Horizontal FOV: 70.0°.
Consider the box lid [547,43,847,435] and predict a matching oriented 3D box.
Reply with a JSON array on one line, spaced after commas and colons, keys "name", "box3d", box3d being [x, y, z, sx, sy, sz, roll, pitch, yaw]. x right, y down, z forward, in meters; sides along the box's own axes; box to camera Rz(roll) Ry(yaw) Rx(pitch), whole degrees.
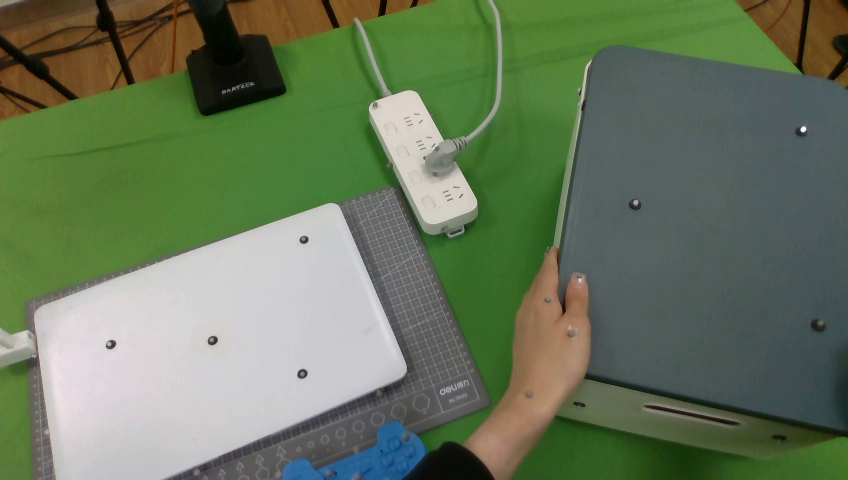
[{"name": "box lid", "box3d": [0.264, -0.032, 0.546, 0.263, 0.015, 0.369, 12, 62, 7]}]

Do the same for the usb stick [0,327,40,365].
[{"name": "usb stick", "box3d": [-0.429, 0.111, 0.645, 0.059, 0.027, 0.021, -17, 56, -11]}]

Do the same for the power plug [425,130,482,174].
[{"name": "power plug", "box3d": [0.037, -0.100, 0.732, 0.072, 0.053, 0.035, -10, 60, -5]}]

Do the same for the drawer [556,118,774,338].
[{"name": "drawer", "box3d": [0.265, -0.019, 0.666, 0.194, 0.074, 0.210, 14, 64, 11]}]

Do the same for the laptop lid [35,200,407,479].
[{"name": "laptop lid", "box3d": [-0.220, 0.105, 0.644, 0.357, 0.013, 0.239, -20, 64, -9]}]

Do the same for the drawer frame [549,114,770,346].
[{"name": "drawer frame", "box3d": [0.262, -0.018, 0.668, 0.201, 0.083, 0.212, 16, 58, 8]}]

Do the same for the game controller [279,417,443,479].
[{"name": "game controller", "box3d": [-0.061, 0.231, 0.566, 0.155, 0.052, 0.096, -19, 60, -9]}]

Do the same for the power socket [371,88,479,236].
[{"name": "power socket", "box3d": [-0.003, -0.104, 0.761, 0.072, 0.033, 0.224, -20, 62, -11]}]

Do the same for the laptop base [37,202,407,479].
[{"name": "laptop base", "box3d": [-0.221, 0.109, 0.655, 0.355, 0.023, 0.233, -21, 66, -10]}]

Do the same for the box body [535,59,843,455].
[{"name": "box body", "box3d": [0.260, 0.010, 0.616, 0.254, 0.162, 0.361, 10, 62, 7]}]
